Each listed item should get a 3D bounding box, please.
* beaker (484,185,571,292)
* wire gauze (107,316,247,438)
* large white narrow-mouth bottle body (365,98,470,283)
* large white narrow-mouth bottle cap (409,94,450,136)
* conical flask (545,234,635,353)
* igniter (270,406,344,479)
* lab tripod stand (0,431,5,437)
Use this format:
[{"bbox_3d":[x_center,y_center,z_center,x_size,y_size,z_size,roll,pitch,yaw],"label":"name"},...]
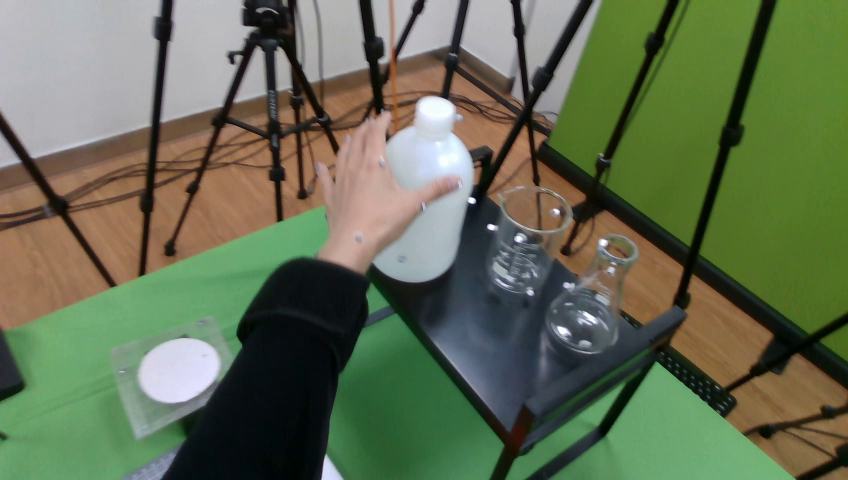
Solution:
[{"bbox_3d":[0.104,0.000,0.653,0.083,0.101,0.074,29,47,20],"label":"beaker"},{"bbox_3d":[-0.280,0.146,0.686,0.122,0.011,0.123,-20,51,-28],"label":"wire gauze"},{"bbox_3d":[-0.006,-0.053,0.616,0.102,0.196,0.101,5,44,-5],"label":"large white narrow-mouth bottle body"},{"bbox_3d":[0.005,-0.115,0.558,0.038,0.024,0.037,6,44,-5],"label":"large white narrow-mouth bottle cap"},{"bbox_3d":[0.169,0.049,0.598,0.075,0.123,0.074,5,44,-5],"label":"conical flask"},{"bbox_3d":[-0.082,0.286,0.636,0.057,0.025,0.274,-17,50,-40],"label":"igniter"},{"bbox_3d":[-0.463,0.214,0.563,0.149,0.132,0.147,7,43,-6],"label":"lab tripod stand"}]
